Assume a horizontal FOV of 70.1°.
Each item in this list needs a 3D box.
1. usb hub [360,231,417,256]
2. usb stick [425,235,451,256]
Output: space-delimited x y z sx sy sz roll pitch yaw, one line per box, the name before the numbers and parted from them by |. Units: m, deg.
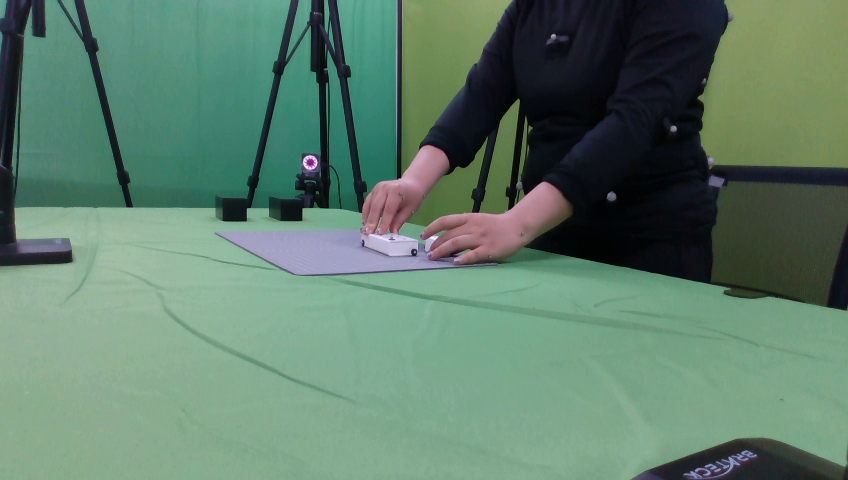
usb hub | -0.059 0.004 0.950 0.050 0.025 0.124 -2 8 -26
usb stick | 0.018 0.008 0.938 0.021 0.027 0.059 -9 8 -27
